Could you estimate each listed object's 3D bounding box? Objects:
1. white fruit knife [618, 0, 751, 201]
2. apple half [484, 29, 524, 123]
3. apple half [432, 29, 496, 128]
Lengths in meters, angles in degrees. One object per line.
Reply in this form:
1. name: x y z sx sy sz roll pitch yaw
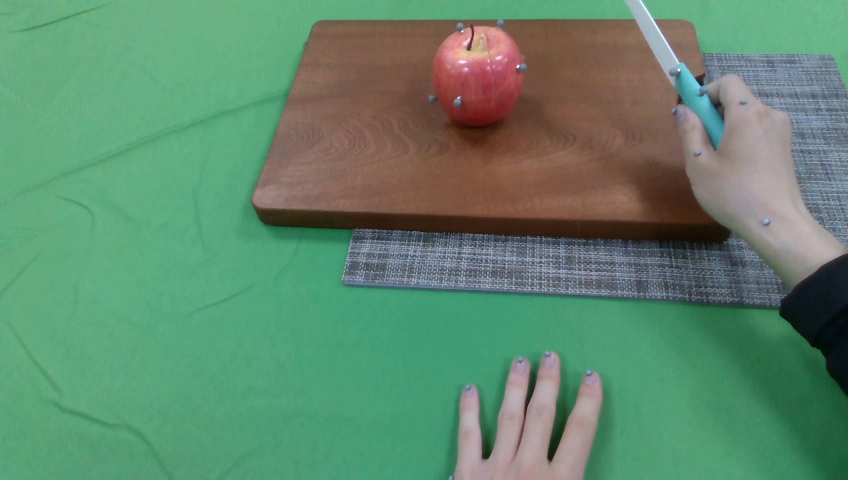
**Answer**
1. white fruit knife: 0.197 -0.124 0.474 0.016 0.027 0.206 -26 81 -8
2. apple half: 0.073 -0.146 0.538 0.033 0.082 0.080 -8 53 5
3. apple half: 0.034 -0.141 0.540 0.053 0.075 0.080 -8 57 5
